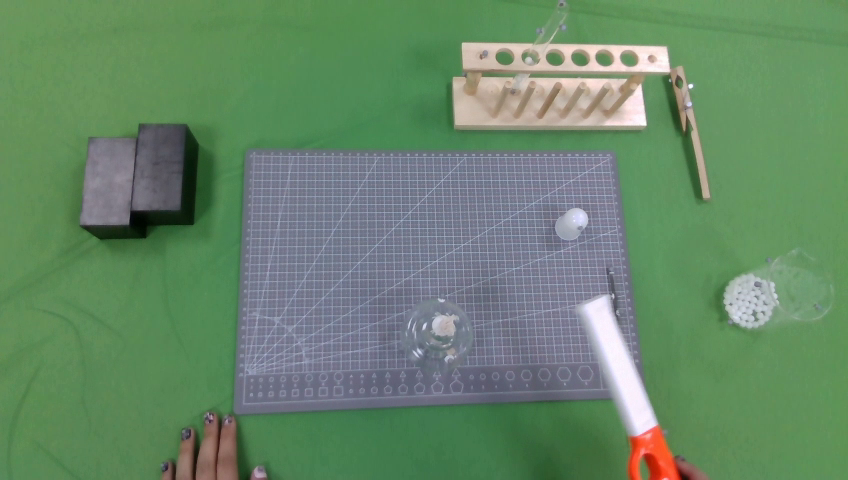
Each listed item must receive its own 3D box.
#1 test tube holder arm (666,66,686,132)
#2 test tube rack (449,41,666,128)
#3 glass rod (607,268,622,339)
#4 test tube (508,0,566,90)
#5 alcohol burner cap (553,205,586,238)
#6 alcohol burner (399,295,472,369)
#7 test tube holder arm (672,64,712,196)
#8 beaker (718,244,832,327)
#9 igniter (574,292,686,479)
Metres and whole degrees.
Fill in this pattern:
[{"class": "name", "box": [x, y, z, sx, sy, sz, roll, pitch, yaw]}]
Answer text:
[{"class": "test tube holder arm", "box": [0.327, -0.183, 0.781, 0.010, 0.015, 0.087, -16, 75, 27]}, {"class": "test tube rack", "box": [0.157, -0.184, 0.729, 0.243, 0.085, 0.066, -1, 75, -6]}, {"class": "glass rod", "box": [0.224, 0.129, 0.689, 0.008, 0.008, 0.198, -1, 75, -6]}, {"class": "test tube", "box": [0.122, -0.214, 0.682, 0.017, 0.150, 0.017, 4, 71, -11]}, {"class": "alcohol burner cap", "box": [0.173, -0.024, 0.707, 0.034, 0.048, 0.033, 1, 75, -5]}, {"class": "alcohol burner", "box": [0.013, 0.092, 0.623, 0.078, 0.119, 0.077, 1, 72, -4]}, {"class": "test tube holder arm", "box": [0.339, -0.141, 0.769, 0.013, 0.015, 0.177, -17, 75, 27]}, {"class": "beaker", "box": [0.388, 0.055, 0.682, 0.074, 0.100, 0.083, 12, 73, -2]}, {"class": "igniter", "box": [0.201, 0.183, 0.562, 0.057, 0.025, 0.276, -19, 88, -23]}]
